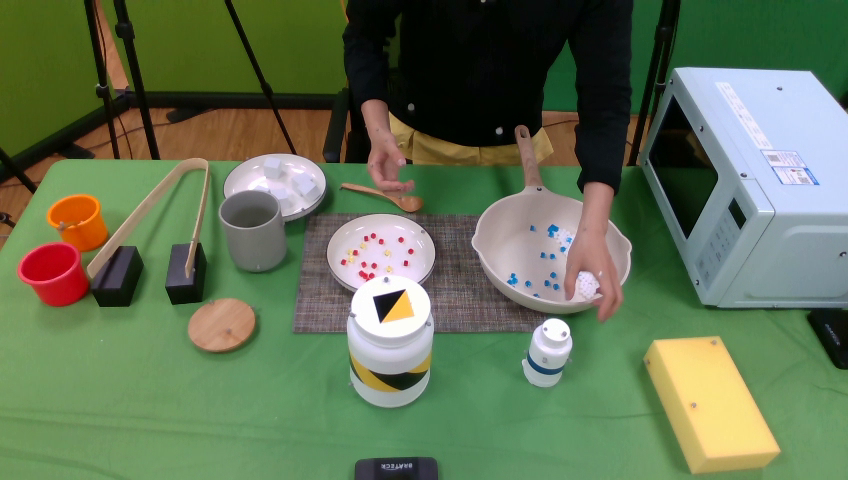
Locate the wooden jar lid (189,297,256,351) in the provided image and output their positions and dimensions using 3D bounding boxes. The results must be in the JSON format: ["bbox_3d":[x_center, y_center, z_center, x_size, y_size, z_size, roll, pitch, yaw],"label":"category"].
[{"bbox_3d":[-0.342,0.145,1.033,0.108,0.021,0.107,2,45,-2],"label":"wooden jar lid"}]

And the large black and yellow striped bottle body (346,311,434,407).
[{"bbox_3d":[-0.052,0.157,0.929,0.131,0.185,0.130,2,47,-2],"label":"large black and yellow striped bottle body"}]

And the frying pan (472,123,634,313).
[{"bbox_3d":[0.235,-0.060,1.207,0.307,0.103,0.484,2,54,-6],"label":"frying pan"}]

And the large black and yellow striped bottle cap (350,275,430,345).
[{"bbox_3d":[-0.048,0.097,0.868,0.115,0.019,0.114,3,48,-3],"label":"large black and yellow striped bottle cap"}]

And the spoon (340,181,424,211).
[{"bbox_3d":[-0.090,-0.100,1.282,0.193,0.022,0.041,18,65,13],"label":"spoon"}]

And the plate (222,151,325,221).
[{"bbox_3d":[-0.310,-0.106,1.263,0.208,0.039,0.206,2,47,-2],"label":"plate"}]

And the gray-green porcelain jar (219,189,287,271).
[{"bbox_3d":[-0.310,-0.014,1.113,0.106,0.127,0.105,2,46,-2],"label":"gray-green porcelain jar"}]

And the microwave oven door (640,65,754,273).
[{"bbox_3d":[0.523,-0.148,1.193,0.039,0.245,0.353,0,47,-3],"label":"microwave oven door"}]

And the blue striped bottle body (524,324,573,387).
[{"bbox_3d":[0.200,0.178,0.970,0.063,0.121,0.062,2,46,-2],"label":"blue striped bottle body"}]

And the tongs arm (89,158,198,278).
[{"bbox_3d":[-0.529,-0.057,1.164,0.028,0.028,0.385,1,36,8],"label":"tongs arm"}]

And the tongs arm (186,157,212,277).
[{"bbox_3d":[-0.445,-0.058,1.168,0.051,0.026,0.382,-5,37,-6],"label":"tongs arm"}]

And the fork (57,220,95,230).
[{"bbox_3d":[-0.624,-0.027,1.086,0.028,0.207,0.018,-3,92,-17],"label":"fork"}]

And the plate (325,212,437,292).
[{"bbox_3d":[-0.080,0.030,1.143,0.209,0.038,0.208,3,46,-2],"label":"plate"}]

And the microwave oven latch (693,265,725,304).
[{"bbox_3d":[0.523,0.081,1.116,0.030,0.029,0.078,2,46,-1],"label":"microwave oven latch"}]

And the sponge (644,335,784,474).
[{"bbox_3d":[0.449,0.253,0.956,0.118,0.061,0.205,-4,46,-7],"label":"sponge"}]

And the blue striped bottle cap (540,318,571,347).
[{"bbox_3d":[0.203,0.142,0.933,0.044,0.021,0.044,3,49,-3],"label":"blue striped bottle cap"}]

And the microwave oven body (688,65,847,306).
[{"bbox_3d":[0.669,-0.111,1.176,0.326,0.261,0.439,0,46,-3],"label":"microwave oven body"}]
